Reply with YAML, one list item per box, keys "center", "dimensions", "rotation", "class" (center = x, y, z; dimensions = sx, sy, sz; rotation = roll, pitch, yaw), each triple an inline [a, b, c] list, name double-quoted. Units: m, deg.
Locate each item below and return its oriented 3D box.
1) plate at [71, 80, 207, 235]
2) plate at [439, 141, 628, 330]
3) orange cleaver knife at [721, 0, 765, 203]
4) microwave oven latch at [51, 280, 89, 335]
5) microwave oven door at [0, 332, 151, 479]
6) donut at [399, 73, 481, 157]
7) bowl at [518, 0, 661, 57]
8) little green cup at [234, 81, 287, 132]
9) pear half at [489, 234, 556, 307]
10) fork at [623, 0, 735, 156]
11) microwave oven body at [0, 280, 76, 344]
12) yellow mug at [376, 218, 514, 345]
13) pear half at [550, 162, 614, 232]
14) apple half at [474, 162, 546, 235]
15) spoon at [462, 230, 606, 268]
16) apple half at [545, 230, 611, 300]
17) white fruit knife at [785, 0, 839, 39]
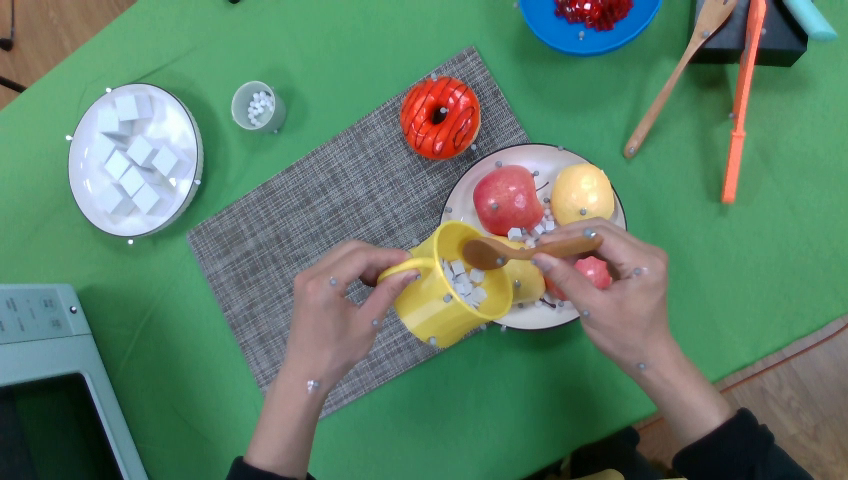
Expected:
- center: [-0.381, -0.109, 0.821]
  dimensions: [0.207, 0.039, 0.207]
  rotation: [-1, 88, 15]
  class: "plate"
- center: [0.120, -0.005, 0.679]
  dimensions: [0.208, 0.038, 0.209]
  rotation: [-1, 88, 15]
  class: "plate"
- center: [0.321, -0.144, 0.611]
  dimensions: [0.012, 0.077, 0.212]
  rotation: [7, 115, 20]
  class: "orange cleaver knife"
- center: [-0.487, 0.093, 0.823]
  dimensions: [0.030, 0.029, 0.079]
  rotation: [-25, 82, 12]
  class: "microwave oven latch"
- center: [-0.421, 0.283, 0.693]
  dimensions: [0.039, 0.245, 0.354]
  rotation: [-28, 81, 12]
  class: "microwave oven door"
- center: [0.018, -0.146, 0.708]
  dimensions: [0.099, 0.048, 0.099]
  rotation: [0, 90, 17]
  class: "donut"
- center: [0.179, -0.264, 0.656]
  dimensions: [0.151, 0.077, 0.151]
  rotation: [0, 88, 15]
  class: "bowl"
- center: [-0.207, -0.168, 0.777]
  dimensions: [0.061, 0.039, 0.061]
  rotation: [-1, 87, 16]
  class: "little green cup"
- center: [0.101, 0.041, 0.669]
  dimensions: [0.109, 0.056, 0.076]
  rotation: [34, 101, 8]
  class: "pear half"
- center: [0.263, -0.178, 0.626]
  dimensions: [0.028, 0.018, 0.208]
  rotation: [28, 116, 6]
  class: "fork"
- center: [-0.563, 0.313, 0.736]
  dimensions: [0.326, 0.261, 0.440]
  rotation: [-28, 82, 12]
  class: "microwave oven body"
- center: [0.014, 0.036, 0.540]
  dimensions: [0.064, 0.132, 0.099]
  rotation: [-36, 58, 35]
  class: "yellow mug"
- center: [0.166, -0.040, 0.654]
  dimensions: [0.070, 0.031, 0.088]
  rotation: [2, 99, 38]
  class: "pear half"
- center: [0.092, -0.046, 0.670]
  dimensions: [0.074, 0.053, 0.080]
  rotation: [-13, 88, 15]
  class: "apple half"
- center: [0.083, 0.008, 0.492]
  dimensions: [0.042, 0.193, 0.021]
  rotation: [43, 74, -14]
  class: "spoon"
- center: [0.157, 0.029, 0.651]
  dimensions: [0.081, 0.033, 0.081]
  rotation: [5, 99, 37]
  class: "apple half"
- center: [0.339, -0.282, 0.595]
  dimensions: [0.027, 0.016, 0.206]
  rotation: [-24, 79, -16]
  class: "white fruit knife"
